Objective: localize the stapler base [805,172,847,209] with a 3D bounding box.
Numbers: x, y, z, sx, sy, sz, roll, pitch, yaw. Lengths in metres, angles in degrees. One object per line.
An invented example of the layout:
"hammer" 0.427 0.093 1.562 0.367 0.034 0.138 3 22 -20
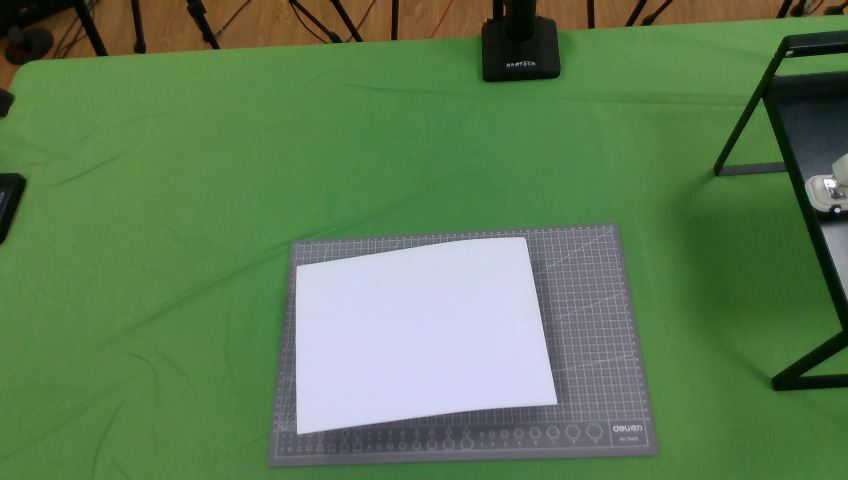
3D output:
"stapler base" 0.451 -0.057 0.599 0.130 0.024 0.041 -4 65 2

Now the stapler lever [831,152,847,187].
"stapler lever" 0.451 -0.069 0.577 0.118 0.040 0.026 -4 65 2
